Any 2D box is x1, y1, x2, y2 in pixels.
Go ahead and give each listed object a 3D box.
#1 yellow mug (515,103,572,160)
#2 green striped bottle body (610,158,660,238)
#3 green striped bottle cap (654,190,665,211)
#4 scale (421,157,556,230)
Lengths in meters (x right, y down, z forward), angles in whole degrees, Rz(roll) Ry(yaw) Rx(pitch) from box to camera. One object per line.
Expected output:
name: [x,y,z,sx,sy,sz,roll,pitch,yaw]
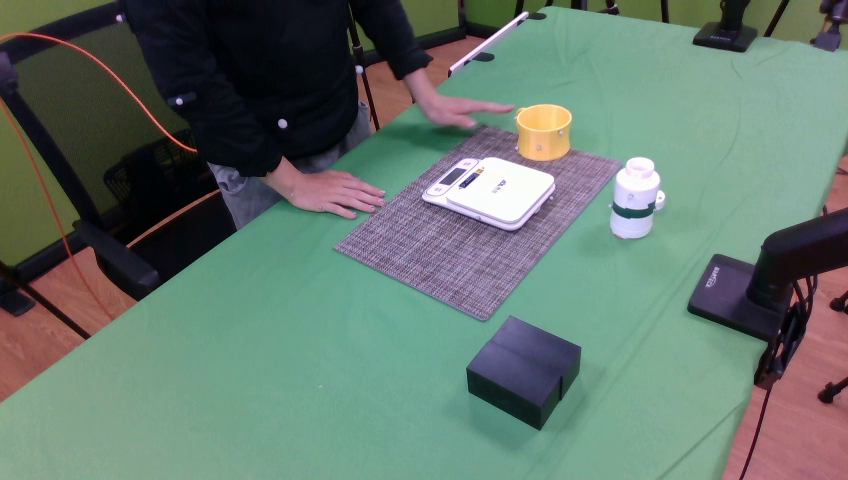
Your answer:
yellow mug: [0.216,-0.211,1.143,0.100,0.064,0.129,-27,44,-22]
green striped bottle body: [0.323,-0.066,0.923,0.063,0.120,0.063,-4,41,4]
green striped bottle cap: [0.375,-0.066,0.998,0.044,0.020,0.044,-8,38,7]
scale: [0.110,-0.089,1.042,0.199,0.032,0.149,23,48,31]
